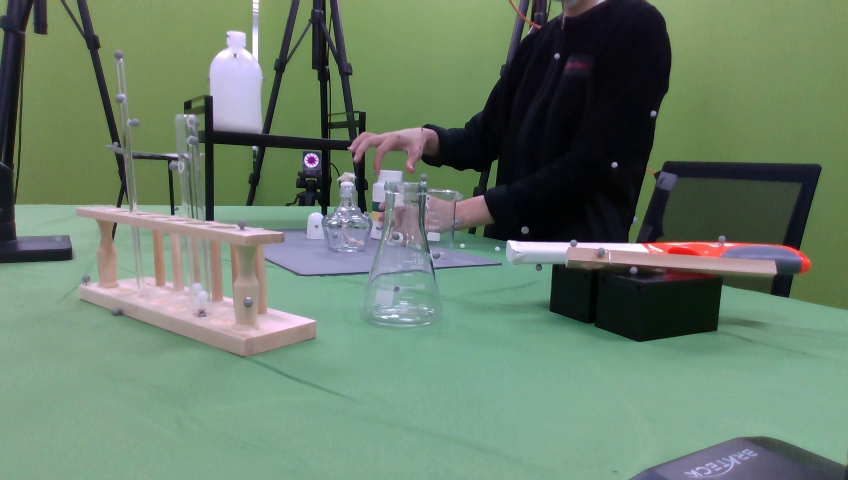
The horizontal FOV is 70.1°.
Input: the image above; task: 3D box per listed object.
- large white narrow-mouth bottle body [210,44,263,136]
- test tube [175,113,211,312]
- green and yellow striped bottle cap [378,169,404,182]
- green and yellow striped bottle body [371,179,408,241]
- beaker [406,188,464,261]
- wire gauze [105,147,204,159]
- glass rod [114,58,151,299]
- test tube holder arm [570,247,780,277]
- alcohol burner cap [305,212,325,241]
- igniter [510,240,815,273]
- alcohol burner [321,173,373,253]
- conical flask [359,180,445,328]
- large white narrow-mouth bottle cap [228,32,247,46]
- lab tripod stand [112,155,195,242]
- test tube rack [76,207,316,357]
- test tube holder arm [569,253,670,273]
[{"bbox_3d":[-0.369,-0.305,1.194,0.102,0.194,0.102,3,8,0],"label":"large white narrow-mouth bottle body"},{"bbox_3d":[-0.174,-0.020,0.458,0.017,0.150,0.017,-3,5,1],"label":"test tube"},{"bbox_3d":[-0.057,-0.113,1.053,0.045,0.020,0.045,3,10,0],"label":"green and yellow striped bottle cap"},{"bbox_3d":[-0.059,-0.061,1.059,0.063,0.119,0.063,3,7,0],"label":"green and yellow striped bottle body"},{"bbox_3d":[0.014,-0.023,0.870,0.084,0.100,0.074,3,8,-4],"label":"beaker"},{"bbox_3d":[-0.407,-0.131,0.928,0.125,0.011,0.121,2,6,-11],"label":"wire gauze"},{"bbox_3d":[-0.236,-0.044,0.492,0.008,0.199,0.008,0,15,0],"label":"glass rod"},{"bbox_3d":[0.217,0.019,0.525,0.178,0.015,0.013,3,-23,3],"label":"test tube holder arm"},{"bbox_3d":[-0.185,-0.023,1.027,0.034,0.048,0.034,2,7,0],"label":"alcohol burner cap"},{"bbox_3d":[0.220,0.015,0.565,0.277,0.025,0.057,2,16,-1],"label":"igniter"},{"bbox_3d":[-0.115,-0.041,0.905,0.078,0.119,0.078,1,6,0],"label":"alcohol burner"},{"bbox_3d":[-0.017,0.010,0.522,0.075,0.122,0.075,2,7,0],"label":"conical flask"},{"bbox_3d":[-0.364,-0.390,1.180,0.038,0.024,0.037,3,8,0],"label":"large white narrow-mouth bottle cap"},{"bbox_3d":[-0.405,-0.064,0.931,0.148,0.131,0.148,1,6,0],"label":"lab tripod stand"},{"bbox_3d":[-0.196,0.023,0.500,0.241,0.085,0.067,8,9,36],"label":"test tube rack"},{"bbox_3d":[0.172,0.019,0.532,0.088,0.015,0.010,3,-23,3],"label":"test tube holder arm"}]
